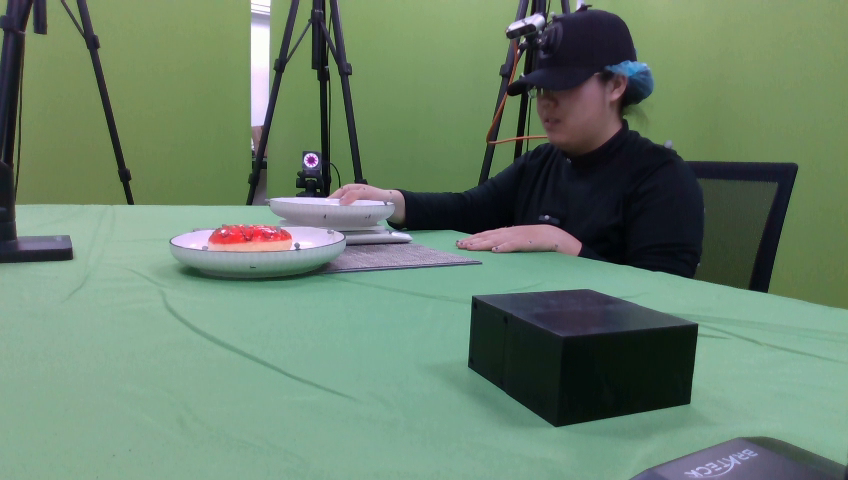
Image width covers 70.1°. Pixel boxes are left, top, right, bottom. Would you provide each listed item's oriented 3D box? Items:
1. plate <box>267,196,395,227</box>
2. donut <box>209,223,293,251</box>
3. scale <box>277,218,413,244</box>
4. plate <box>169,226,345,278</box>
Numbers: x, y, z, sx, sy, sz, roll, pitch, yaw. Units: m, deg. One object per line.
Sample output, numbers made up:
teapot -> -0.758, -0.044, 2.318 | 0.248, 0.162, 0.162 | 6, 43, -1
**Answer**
plate -> -0.152, -0.047, 0.998 | 0.208, 0.039, 0.207 | 2, 6, 0
donut -> -0.210, 0.004, 0.738 | 0.099, 0.048, 0.099 | 0, 8, 0
scale -> -0.134, -0.015, 1.015 | 0.202, 0.031, 0.148 | -1, 9, -33
plate -> -0.202, 0.014, 0.748 | 0.209, 0.038, 0.209 | 1, 9, 0
